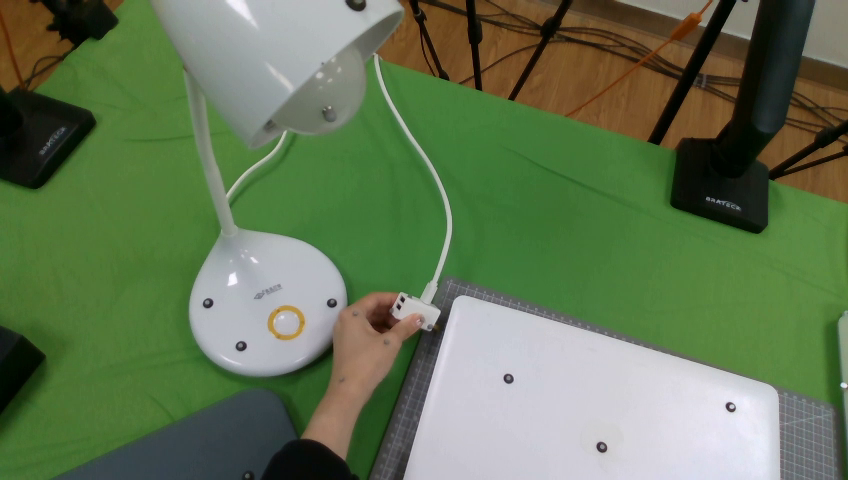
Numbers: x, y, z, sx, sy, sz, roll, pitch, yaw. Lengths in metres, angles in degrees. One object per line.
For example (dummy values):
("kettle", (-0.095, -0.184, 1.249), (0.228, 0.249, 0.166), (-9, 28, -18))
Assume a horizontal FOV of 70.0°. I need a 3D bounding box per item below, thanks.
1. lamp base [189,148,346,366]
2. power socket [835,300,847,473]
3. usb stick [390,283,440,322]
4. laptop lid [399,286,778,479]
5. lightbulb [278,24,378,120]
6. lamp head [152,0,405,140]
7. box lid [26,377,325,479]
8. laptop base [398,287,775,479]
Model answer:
("lamp base", (-0.165, 0.008, 0.577), (0.160, 0.181, 0.178), (-38, 67, -25))
("power socket", (0.488, 0.163, 0.648), (0.072, 0.033, 0.225), (18, 59, 3))
("usb stick", (-0.005, 0.068, 0.635), (0.060, 0.021, 0.027), (29, 93, -30))
("laptop lid", (0.170, 0.191, 0.588), (0.356, 0.013, 0.240), (17, 62, 4))
("lightbulb", (-0.060, -0.116, 0.310), (0.059, 0.059, 0.108), (-20, 102, -17))
("lamp head", (-0.089, -0.129, 0.313), (0.123, 0.112, 0.112), (46, 62, -7))
("box lid", (-0.177, 0.316, 0.494), (0.263, 0.015, 0.368), (-24, 66, -19))
("laptop base", (0.169, 0.195, 0.600), (0.354, 0.023, 0.234), (16, 62, 3))
